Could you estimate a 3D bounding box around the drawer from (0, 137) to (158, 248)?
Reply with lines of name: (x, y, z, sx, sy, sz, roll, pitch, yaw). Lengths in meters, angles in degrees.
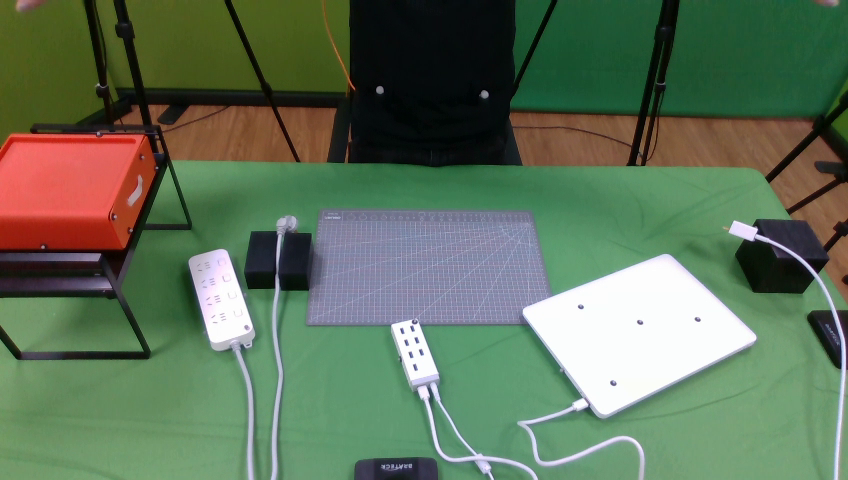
drawer: (-0.549, -0.079, 0.944, 0.212, 0.073, 0.193, 0, 47, -3)

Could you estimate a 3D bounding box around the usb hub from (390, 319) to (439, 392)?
usb hub: (-0.016, 0.190, 1.013, 0.049, 0.025, 0.124, -11, 48, -15)

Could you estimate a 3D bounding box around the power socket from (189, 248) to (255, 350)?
power socket: (-0.358, 0.100, 1.069, 0.072, 0.033, 0.225, -17, 51, -18)

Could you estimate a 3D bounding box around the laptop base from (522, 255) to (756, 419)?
laptop base: (0.381, 0.157, 1.080, 0.355, 0.023, 0.234, -18, 48, -20)

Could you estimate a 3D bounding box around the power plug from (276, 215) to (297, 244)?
power plug: (-0.267, -0.015, 1.157, 0.035, 0.053, 0.072, 7, 63, 26)

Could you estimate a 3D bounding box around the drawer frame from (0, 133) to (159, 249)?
drawer frame: (-0.553, -0.078, 0.942, 0.214, 0.083, 0.200, -1, 47, -4)

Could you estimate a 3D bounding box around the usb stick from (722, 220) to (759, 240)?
usb stick: (0.593, -0.021, 1.139, 0.059, 0.027, 0.021, 22, 12, 29)

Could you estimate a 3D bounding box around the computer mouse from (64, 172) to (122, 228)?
computer mouse: (-0.521, -0.066, 0.955, 0.063, 0.041, 0.116, 0, 48, -9)

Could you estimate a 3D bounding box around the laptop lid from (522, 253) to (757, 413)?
laptop lid: (0.380, 0.147, 1.073, 0.357, 0.013, 0.240, -17, 48, -19)
